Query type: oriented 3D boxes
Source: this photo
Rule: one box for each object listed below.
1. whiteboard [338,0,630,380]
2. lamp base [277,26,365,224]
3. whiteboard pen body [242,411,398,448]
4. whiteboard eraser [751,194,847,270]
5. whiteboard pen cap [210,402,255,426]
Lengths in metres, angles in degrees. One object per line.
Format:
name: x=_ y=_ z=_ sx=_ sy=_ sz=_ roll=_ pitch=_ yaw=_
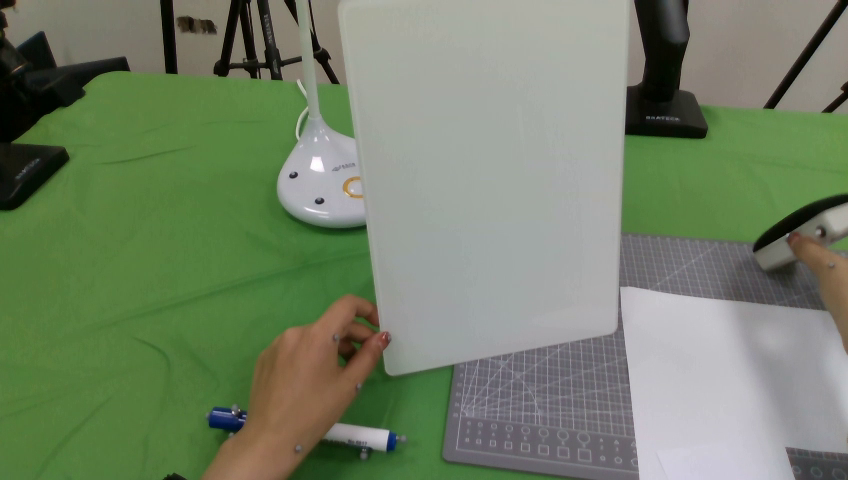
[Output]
whiteboard: x=0.047 y=-0.061 z=0.543 sx=0.217 sy=0.307 sz=0.142 roll=-9 pitch=22 yaw=-9
lamp base: x=-0.103 y=-0.136 z=0.682 sx=0.161 sy=0.182 sz=0.177 roll=-29 pitch=46 yaw=-29
whiteboard pen body: x=-0.091 y=0.146 z=0.471 sx=0.140 sy=0.017 sz=0.017 roll=5 pitch=41 yaw=4
whiteboard eraser: x=0.366 y=-0.008 z=0.577 sx=0.056 sy=0.113 sz=0.041 roll=-15 pitch=73 yaw=-9
whiteboard pen cap: x=-0.149 y=0.137 z=0.476 sx=0.033 sy=0.018 sz=0.018 roll=6 pitch=41 yaw=3
